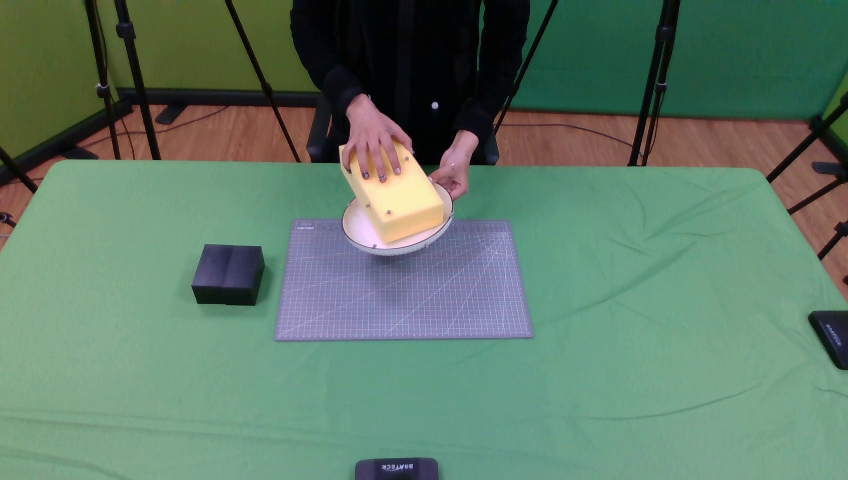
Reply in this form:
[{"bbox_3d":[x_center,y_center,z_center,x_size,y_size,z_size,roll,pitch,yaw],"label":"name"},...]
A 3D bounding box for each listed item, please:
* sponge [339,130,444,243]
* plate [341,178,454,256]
[{"bbox_3d":[-0.063,-0.102,1.107,0.118,0.061,0.205,-20,56,-18],"label":"sponge"},{"bbox_3d":[-0.047,-0.041,1.110,0.209,0.038,0.208,-8,41,7],"label":"plate"}]
